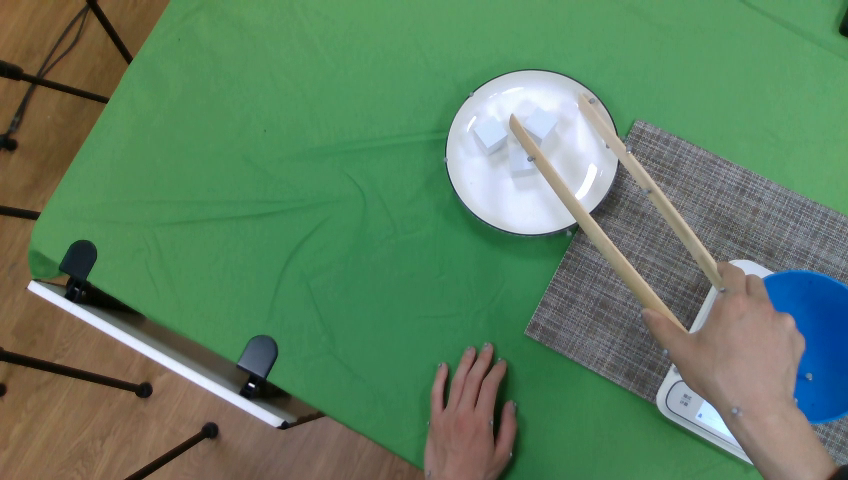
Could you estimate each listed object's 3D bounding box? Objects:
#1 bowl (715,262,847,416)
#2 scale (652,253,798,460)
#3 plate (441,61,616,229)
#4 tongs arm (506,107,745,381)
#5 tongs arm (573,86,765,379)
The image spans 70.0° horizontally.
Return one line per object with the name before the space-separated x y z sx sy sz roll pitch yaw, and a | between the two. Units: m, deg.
bowl | 0.369 0.102 0.629 0.151 0.077 0.151 -1 82 4
scale | 0.364 0.128 0.679 0.148 0.032 0.200 28 84 9
plate | 0.125 -0.113 0.738 0.207 0.039 0.207 -1 81 4
tongs arm | 0.177 -0.018 0.614 0.028 0.028 0.383 -19 52 -13
tongs arm | 0.225 -0.034 0.620 0.051 0.027 0.380 -18 52 -8
